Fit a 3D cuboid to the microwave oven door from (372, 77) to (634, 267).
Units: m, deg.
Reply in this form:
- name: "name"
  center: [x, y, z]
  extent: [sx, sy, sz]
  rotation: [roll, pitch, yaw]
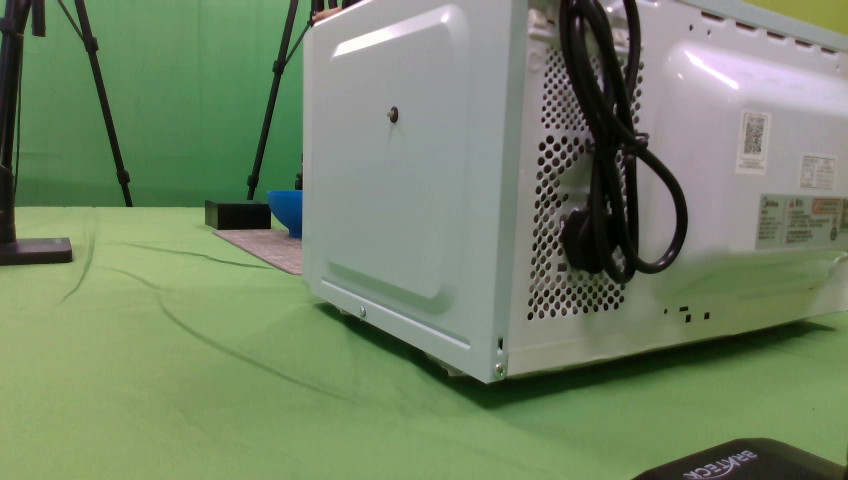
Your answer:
- name: "microwave oven door"
  center: [0.096, -0.099, 0.837]
  extent: [0.355, 0.243, 0.039]
  rotation: [5, 8, 20]

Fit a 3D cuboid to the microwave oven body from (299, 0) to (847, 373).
- name: "microwave oven body"
  center: [0.151, -0.055, 0.543]
  extent: [0.444, 0.260, 0.324]
  rotation: [-2, 7, -33]

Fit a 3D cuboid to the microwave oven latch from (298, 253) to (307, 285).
- name: "microwave oven latch"
  center: [-0.081, 0.027, 0.583]
  extent: [0.079, 0.029, 0.030]
  rotation: [-1, 7, -32]

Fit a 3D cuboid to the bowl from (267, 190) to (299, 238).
- name: "bowl"
  center: [-0.202, -0.046, 1.069]
  extent: [0.151, 0.077, 0.151]
  rotation: [3, 7, 0]
